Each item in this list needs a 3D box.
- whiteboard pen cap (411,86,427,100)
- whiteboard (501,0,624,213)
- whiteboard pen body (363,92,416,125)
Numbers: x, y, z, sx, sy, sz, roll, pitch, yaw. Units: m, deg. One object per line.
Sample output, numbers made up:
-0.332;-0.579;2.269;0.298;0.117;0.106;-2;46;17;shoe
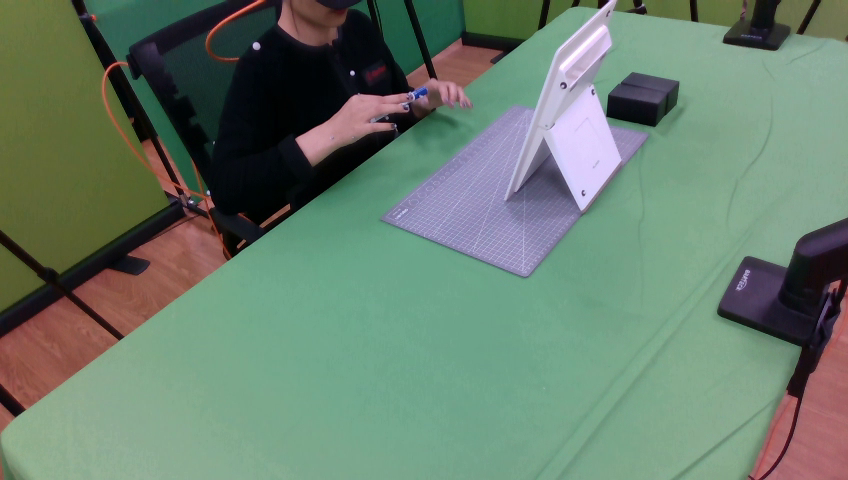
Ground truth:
-0.011;-0.279;1.150;0.033;0.018;0.018;-34;46;-25;whiteboard pen cap
0.271;-0.189;0.977;0.143;0.306;0.218;34;53;16;whiteboard
-0.055;-0.249;1.122;0.141;0.017;0.017;-34;46;-24;whiteboard pen body
